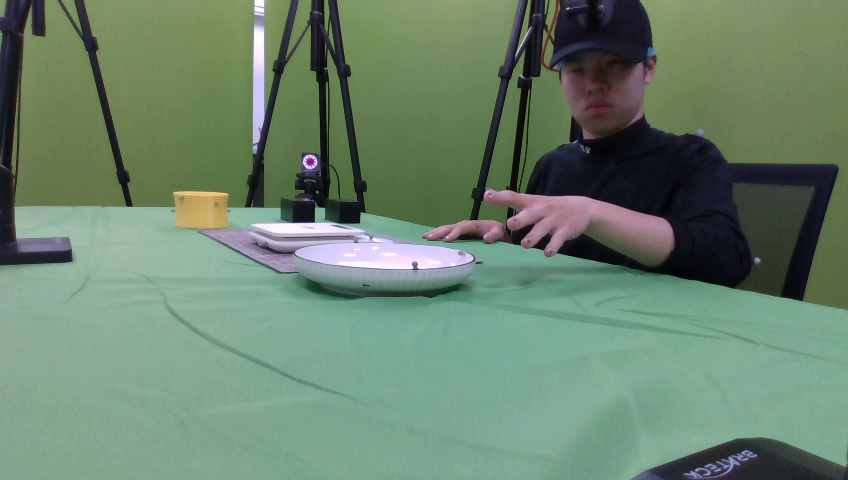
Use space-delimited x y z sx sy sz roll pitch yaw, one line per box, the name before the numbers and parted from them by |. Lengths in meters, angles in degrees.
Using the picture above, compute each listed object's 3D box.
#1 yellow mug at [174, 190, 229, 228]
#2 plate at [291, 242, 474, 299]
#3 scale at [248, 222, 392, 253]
yellow mug | -0.427 -0.063 1.189 0.100 0.064 0.131 5 7 14
plate | -0.047 0.033 0.692 0.209 0.038 0.209 3 7 0
scale | -0.162 -0.006 0.954 0.202 0.031 0.148 -1 9 -32
